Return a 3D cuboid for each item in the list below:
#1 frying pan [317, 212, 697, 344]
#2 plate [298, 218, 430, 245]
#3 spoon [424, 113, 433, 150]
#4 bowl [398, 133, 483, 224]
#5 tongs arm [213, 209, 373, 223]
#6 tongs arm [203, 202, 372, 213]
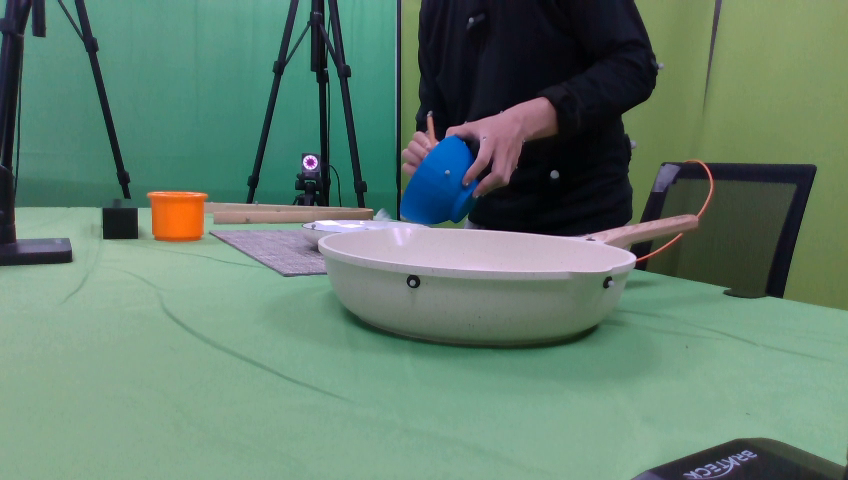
[{"bbox_3d":[0.133,0.013,0.629,0.490,0.102,0.305,-12,14,-31],"label":"frying pan"},{"bbox_3d":[-0.091,-0.006,0.949,0.208,0.039,0.207,2,7,0],"label":"plate"},{"bbox_3d":[0.008,-0.125,0.972,0.021,0.193,0.042,-2,-28,8],"label":"spoon"},{"bbox_3d":[0.036,-0.078,0.925,0.076,0.151,0.152,36,17,14],"label":"bowl"},{"bbox_3d":[-0.274,-0.053,1.347,0.390,0.028,0.028,-2,7,-37],"label":"tongs arm"},{"bbox_3d":[-0.312,-0.068,1.417,0.387,0.026,0.050,1,8,-24],"label":"tongs arm"}]
